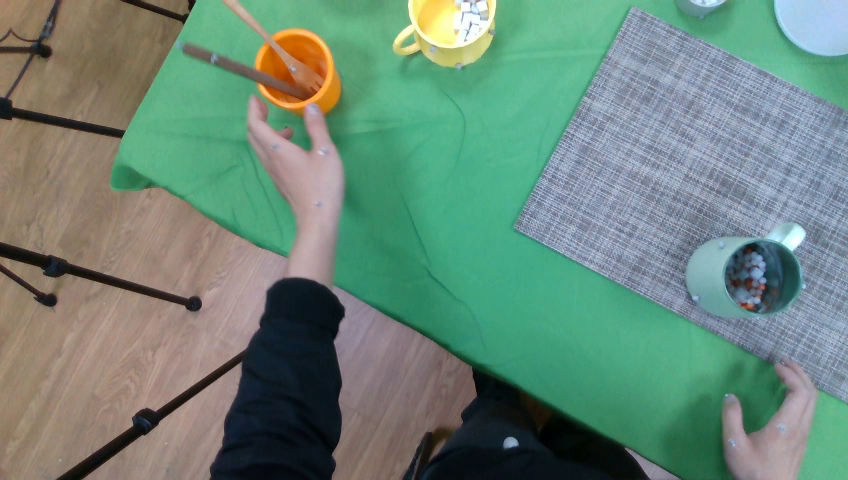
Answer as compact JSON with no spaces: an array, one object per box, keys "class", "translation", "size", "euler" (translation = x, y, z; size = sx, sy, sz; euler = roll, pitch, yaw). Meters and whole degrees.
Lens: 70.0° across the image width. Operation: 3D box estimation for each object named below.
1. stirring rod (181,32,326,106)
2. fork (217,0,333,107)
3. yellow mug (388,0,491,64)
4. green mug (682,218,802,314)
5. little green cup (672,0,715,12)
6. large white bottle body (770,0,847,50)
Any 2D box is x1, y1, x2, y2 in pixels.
[{"class":"stirring rod","translation":[-0.188,-0.191,0.688],"size":[0.006,0.178,0.014],"euler":[-12,66,47]},{"class":"fork","translation":[-0.181,-0.228,0.688],"size":[0.028,0.018,0.209],"euler":[-47,128,0]},{"class":"yellow mug","translation":[0.015,-0.260,0.716],"size":[0.131,0.064,0.100],"euler":[-29,86,4]},{"class":"green mug","translation":[0.351,0.023,0.655],"size":[0.092,0.105,0.125],"euler":[45,92,6]},{"class":"little green cup","translation":[0.319,-0.299,0.706],"size":[0.061,0.039,0.061],"euler":[0,89,5]},{"class":"large white bottle body","translation":[0.460,-0.290,0.621],"size":[0.130,0.185,0.130],"euler":[0,87,5]}]
